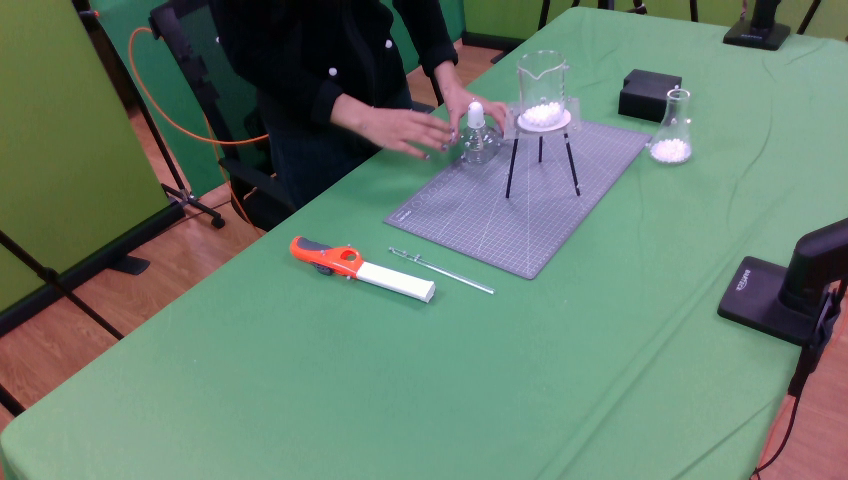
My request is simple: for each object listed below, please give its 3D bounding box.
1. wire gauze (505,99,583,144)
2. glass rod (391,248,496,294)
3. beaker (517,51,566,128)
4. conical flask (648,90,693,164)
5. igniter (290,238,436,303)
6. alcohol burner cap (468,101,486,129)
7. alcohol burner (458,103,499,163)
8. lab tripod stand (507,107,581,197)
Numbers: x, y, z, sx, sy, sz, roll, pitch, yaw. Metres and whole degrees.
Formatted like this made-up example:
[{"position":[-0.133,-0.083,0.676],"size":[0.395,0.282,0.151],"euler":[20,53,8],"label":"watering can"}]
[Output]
[{"position":[0.195,-0.199,0.988],"size":[0.121,0.011,0.124],"euler":[-3,41,13],"label":"wire gauze"},{"position":[0.026,0.045,0.936],"size":[0.198,0.008,0.008],"euler":[21,49,31],"label":"glass rod"},{"position":[0.186,-0.235,0.957],"size":[0.073,0.101,0.084],"euler":[4,42,18],"label":"beaker"},{"position":[0.437,-0.199,1.057],"size":[0.075,0.122,0.075],"euler":[-5,40,5],"label":"conical flask"},{"position":[-0.106,0.044,0.949],"size":[0.274,0.025,0.057],"euler":[16,57,27],"label":"igniter"},{"position":[0.096,-0.231,1.107],"size":[0.034,0.048,0.033],"euler":[-4,50,5],"label":"alcohol burner cap"},{"position":[0.100,-0.205,1.132],"size":[0.078,0.120,0.077],"euler":[-6,42,6],"label":"alcohol burner"},{"position":[0.201,-0.151,1.033],"size":[0.148,0.132,0.147],"euler":[-7,39,6],"label":"lab tripod stand"}]
